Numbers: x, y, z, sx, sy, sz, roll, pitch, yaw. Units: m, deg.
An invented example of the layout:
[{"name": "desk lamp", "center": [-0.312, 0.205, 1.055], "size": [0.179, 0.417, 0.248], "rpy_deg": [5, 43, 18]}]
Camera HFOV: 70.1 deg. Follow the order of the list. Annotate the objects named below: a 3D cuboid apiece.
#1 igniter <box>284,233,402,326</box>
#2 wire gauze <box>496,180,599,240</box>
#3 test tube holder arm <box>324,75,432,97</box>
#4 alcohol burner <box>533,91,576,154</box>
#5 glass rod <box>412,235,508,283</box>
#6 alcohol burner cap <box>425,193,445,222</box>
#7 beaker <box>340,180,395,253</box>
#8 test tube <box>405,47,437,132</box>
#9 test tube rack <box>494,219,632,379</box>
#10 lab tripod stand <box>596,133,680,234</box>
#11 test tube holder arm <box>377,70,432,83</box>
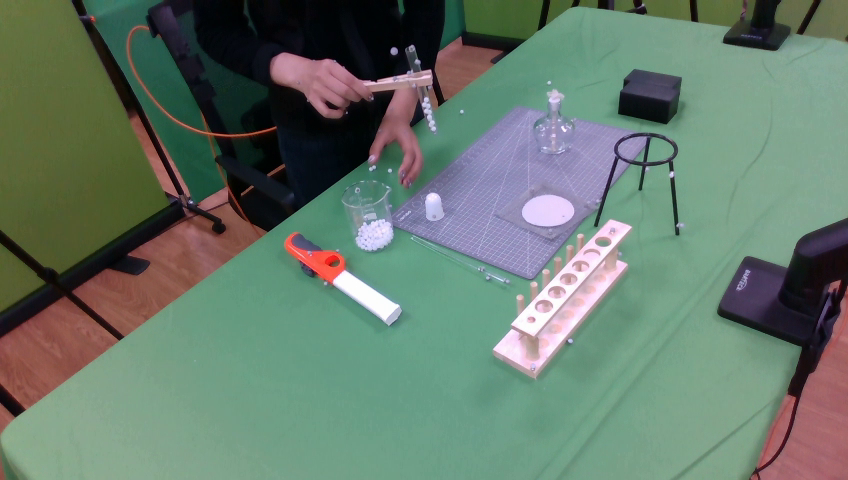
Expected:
[{"name": "igniter", "center": [-0.136, 0.054, 0.942], "size": [0.274, 0.025, 0.057], "rpy_deg": [30, 64, 37]}, {"name": "wire gauze", "center": [0.206, -0.050, 1.012], "size": [0.125, 0.011, 0.120], "rpy_deg": [-34, 45, -26]}, {"name": "test tube holder arm", "center": [-0.075, -0.242, 0.953], "size": [0.178, 0.015, 0.013], "rpy_deg": [-4, 44, 14]}, {"name": "alcohol burner", "center": [0.243, -0.222, 1.124], "size": [0.078, 0.119, 0.077], "rpy_deg": [-4, 39, 4]}, {"name": "glass rod", "center": [0.051, 0.028, 0.951], "size": [0.198, 0.008, 0.008], "rpy_deg": [25, 52, 37]}, {"name": "alcohol burner cap", "center": [0.017, -0.058, 1.029], "size": [0.034, 0.048, 0.033], "rpy_deg": [-6, 40, 5]}, {"name": "beaker", "center": [-0.086, -0.037, 0.985], "size": [0.084, 0.101, 0.073], "rpy_deg": [-18, 41, -11]}, {"name": "test tube", "center": [-0.003, -0.234, 0.956], "size": [0.017, 0.151, 0.017], "rpy_deg": [-10, 43, 10]}, {"name": "test tube rack", "center": [0.191, 0.068, 0.818], "size": [0.066, 0.085, 0.243], "rpy_deg": [25, 51, 35]}, {"name": "lab tripod stand", "center": [0.338, -0.091, 0.940], "size": [0.148, 0.132, 0.147], "rpy_deg": [-7, 39, 6]}, {"name": "test tube holder arm", "center": [-0.031, -0.251, 0.948], "size": [0.088, 0.015, 0.010], "rpy_deg": [-9, 43, 8]}]
